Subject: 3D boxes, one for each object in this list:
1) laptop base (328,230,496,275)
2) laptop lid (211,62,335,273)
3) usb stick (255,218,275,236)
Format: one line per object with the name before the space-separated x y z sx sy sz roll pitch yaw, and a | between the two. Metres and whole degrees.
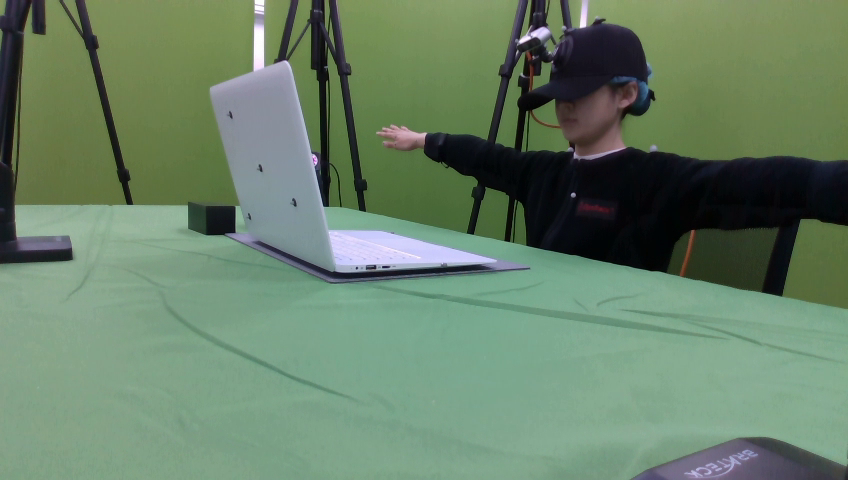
laptop base | -0.091 0.016 0.884 0.237 0.023 0.352 3 6 -32
laptop lid | -0.211 -0.095 0.791 0.013 0.241 0.355 -18 18 -29
usb stick | -0.262 -0.021 1.003 0.021 0.027 0.059 -1 11 -33
